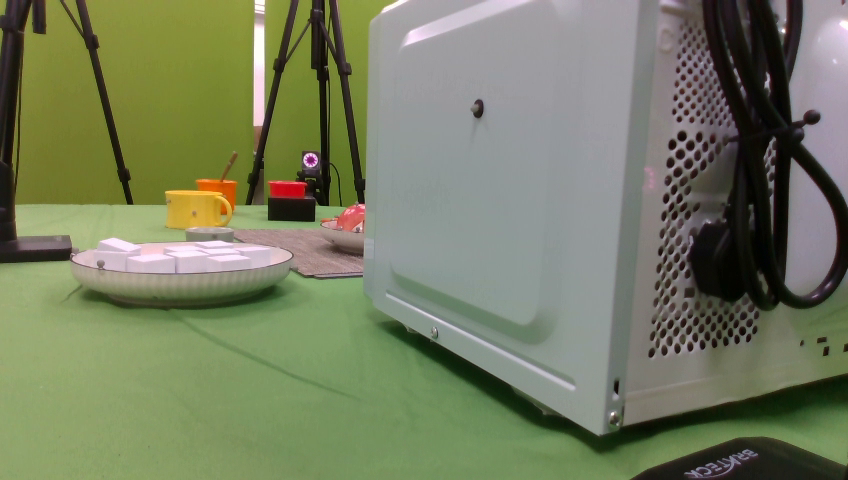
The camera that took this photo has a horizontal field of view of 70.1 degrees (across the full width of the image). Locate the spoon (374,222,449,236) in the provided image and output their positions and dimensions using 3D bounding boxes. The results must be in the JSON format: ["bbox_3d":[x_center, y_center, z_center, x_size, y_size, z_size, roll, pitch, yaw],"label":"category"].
[{"bbox_3d":[-0.028,-0.026,1.178,0.193,0.021,0.042,9,25,41],"label":"spoon"}]

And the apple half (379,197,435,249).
[{"bbox_3d":[-0.020,-0.030,0.891,0.081,0.053,0.074,-3,49,-26],"label":"apple half"}]

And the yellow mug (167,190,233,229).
[{"bbox_3d":[-0.415,-0.057,1.132,0.130,0.064,0.100,6,8,16],"label":"yellow mug"}]

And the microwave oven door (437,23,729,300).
[{"bbox_3d":[0.181,-0.072,0.621,0.358,0.243,0.039,-2,9,-29],"label":"microwave oven door"}]

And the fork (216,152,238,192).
[{"bbox_3d":[-0.455,-0.132,1.367,0.028,0.018,0.207,-2,-35,-37],"label":"fork"}]

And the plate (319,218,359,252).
[{"bbox_3d":[-0.059,-0.007,0.939,0.209,0.038,0.209,3,8,0],"label":"plate"}]

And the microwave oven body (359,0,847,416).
[{"bbox_3d":[0.211,-0.047,0.474,0.444,0.260,0.324,-1,7,-28],"label":"microwave oven body"}]

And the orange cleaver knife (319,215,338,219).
[{"bbox_3d":[-0.142,-0.057,1.394,0.077,0.012,0.212,3,7,44],"label":"orange cleaver knife"}]

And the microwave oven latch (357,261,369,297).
[{"bbox_3d":[-0.019,0.033,0.531,0.079,0.029,0.030,-1,7,-28],"label":"microwave oven latch"}]

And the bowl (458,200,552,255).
[{"bbox_3d":[0.128,-0.020,0.977,0.151,0.077,0.151,3,8,0],"label":"bowl"}]

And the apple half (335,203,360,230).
[{"bbox_3d":[-0.116,-0.038,0.959,0.081,0.033,0.081,-38,8,7],"label":"apple half"}]

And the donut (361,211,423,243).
[{"bbox_3d":[-0.050,-0.020,0.958,0.099,0.048,0.099,4,7,0],"label":"donut"}]

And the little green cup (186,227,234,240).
[{"bbox_3d":[-0.284,0.005,0.805,0.061,0.038,0.061,2,8,0],"label":"little green cup"}]

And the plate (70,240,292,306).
[{"bbox_3d":[-0.242,0.032,0.618,0.208,0.039,0.207,2,8,0],"label":"plate"}]
